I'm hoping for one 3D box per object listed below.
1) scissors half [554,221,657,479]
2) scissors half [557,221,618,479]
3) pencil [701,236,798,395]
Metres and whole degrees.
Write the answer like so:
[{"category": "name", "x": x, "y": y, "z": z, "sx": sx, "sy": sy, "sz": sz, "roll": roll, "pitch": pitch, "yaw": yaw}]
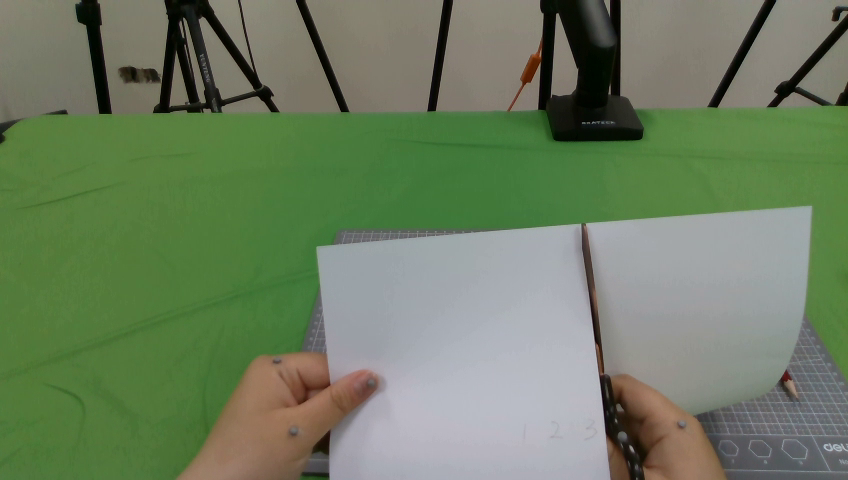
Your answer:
[{"category": "scissors half", "x": 0.100, "y": 0.072, "z": 0.341, "sx": 0.013, "sy": 0.040, "sz": 0.174, "roll": -15, "pitch": 80, "yaw": -5}, {"category": "scissors half", "x": 0.098, "y": 0.074, "z": 0.361, "sx": 0.013, "sy": 0.175, "sz": 0.040, "roll": -15, "pitch": 9, "yaw": -10}, {"category": "pencil", "x": 0.289, "y": 0.059, "z": 0.545, "sx": 0.012, "sy": 0.012, "sz": 0.192, "roll": -2, "pitch": 40, "yaw": 0}]
